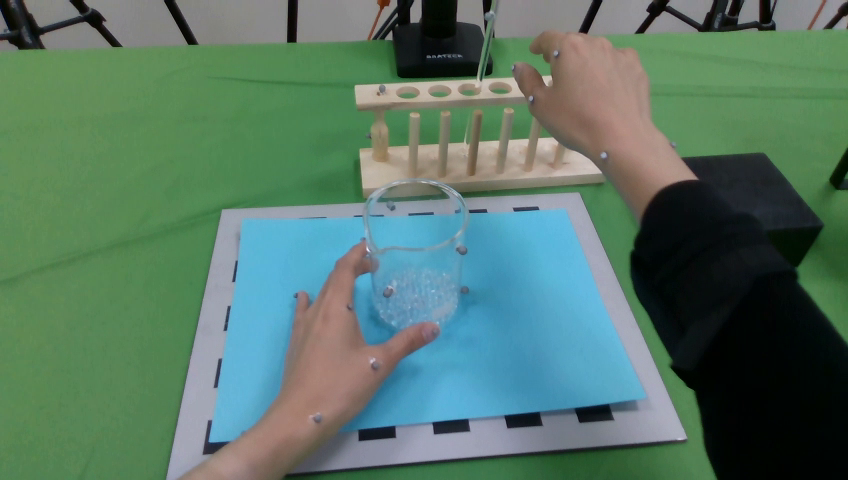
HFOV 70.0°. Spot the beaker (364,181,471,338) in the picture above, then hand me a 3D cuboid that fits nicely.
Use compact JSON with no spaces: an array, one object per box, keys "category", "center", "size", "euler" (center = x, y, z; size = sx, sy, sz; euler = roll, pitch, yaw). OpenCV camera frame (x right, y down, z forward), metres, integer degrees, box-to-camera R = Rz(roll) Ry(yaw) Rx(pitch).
[{"category":"beaker","center":[-0.008,0.020,0.450],"size":[0.073,0.101,0.084],"euler":[32,52,28]}]

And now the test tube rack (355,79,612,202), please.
[{"category":"test tube rack","center":[0.058,-0.098,0.589],"size":[0.243,0.086,0.066],"euler":[-4,44,-6]}]

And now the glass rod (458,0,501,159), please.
[{"category":"glass rod","center":[0.051,-0.153,0.550],"size":[0.008,0.201,0.008],"euler":[6,46,-5]}]
